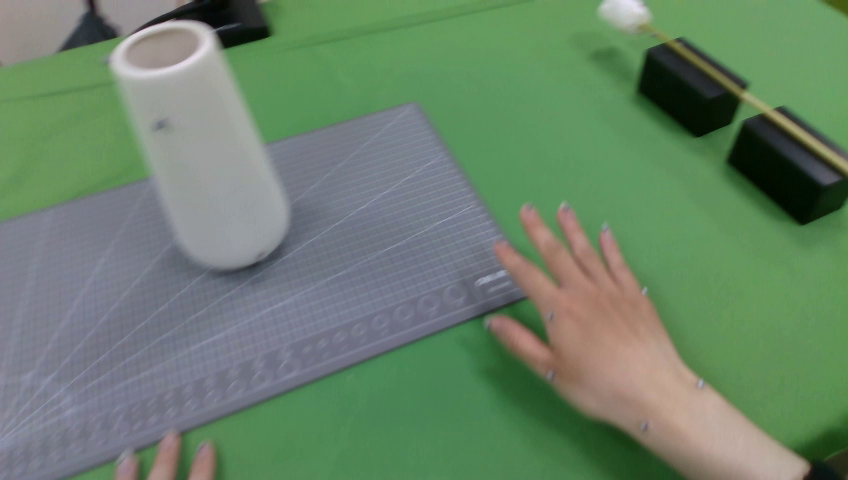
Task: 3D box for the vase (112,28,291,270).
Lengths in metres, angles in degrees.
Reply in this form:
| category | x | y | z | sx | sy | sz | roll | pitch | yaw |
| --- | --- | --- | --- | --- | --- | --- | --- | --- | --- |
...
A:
| category | x | y | z | sx | sy | sz | roll | pitch | yaw |
| --- | --- | --- | --- | --- | --- | --- | --- | --- | --- |
| vase | -0.176 | -0.066 | 0.496 | 0.098 | 0.202 | 0.097 | -3 | 48 | 3 |

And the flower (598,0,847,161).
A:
| category | x | y | z | sx | sy | sz | roll | pitch | yaw |
| --- | --- | --- | --- | --- | --- | --- | --- | --- | --- |
| flower | 0.294 | -0.163 | 0.607 | 0.044 | 0.038 | 0.357 | -7 | 42 | -25 |
